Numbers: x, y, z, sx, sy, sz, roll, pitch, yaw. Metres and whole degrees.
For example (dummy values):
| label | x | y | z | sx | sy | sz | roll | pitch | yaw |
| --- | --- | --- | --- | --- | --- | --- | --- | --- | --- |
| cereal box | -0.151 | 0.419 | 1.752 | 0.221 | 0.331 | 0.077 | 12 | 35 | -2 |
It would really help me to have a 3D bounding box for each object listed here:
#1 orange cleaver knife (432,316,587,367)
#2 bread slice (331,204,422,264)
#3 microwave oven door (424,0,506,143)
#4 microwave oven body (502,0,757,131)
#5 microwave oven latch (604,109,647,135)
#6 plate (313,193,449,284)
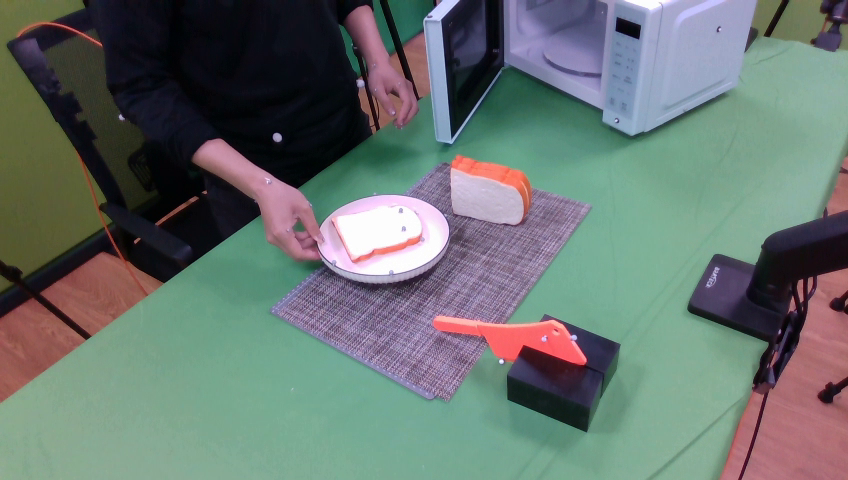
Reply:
| label | x | y | z | sx | sy | sz | roll | pitch | yaw |
| --- | --- | --- | --- | --- | --- | --- | --- | --- | --- |
| orange cleaver knife | 0.101 | 0.127 | 0.761 | 0.210 | 0.077 | 0.012 | -1 | 34 | 40 |
| bread slice | -0.071 | -0.015 | 0.959 | 0.135 | 0.018 | 0.106 | -18 | 45 | -20 |
| microwave oven door | 0.093 | -0.392 | 1.218 | 0.039 | 0.245 | 0.356 | 11 | 44 | 21 |
| microwave oven body | 0.396 | -0.448 | 1.248 | 0.327 | 0.261 | 0.437 | -27 | 44 | -21 |
| microwave oven latch | 0.378 | -0.225 | 1.139 | 0.030 | 0.029 | 0.078 | -26 | 43 | -20 |
| plate | -0.065 | 0.000 | 0.941 | 0.208 | 0.039 | 0.206 | -1 | 39 | 1 |
